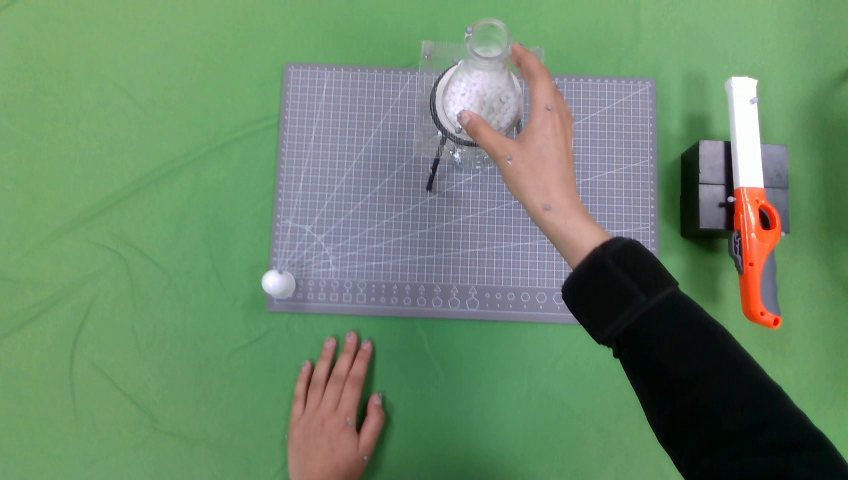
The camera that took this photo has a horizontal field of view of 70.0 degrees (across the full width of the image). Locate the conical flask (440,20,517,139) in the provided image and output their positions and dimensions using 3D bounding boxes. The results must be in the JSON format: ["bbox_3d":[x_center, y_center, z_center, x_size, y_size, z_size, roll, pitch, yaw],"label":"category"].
[{"bbox_3d":[0.052,-0.144,0.535,0.075,0.122,0.075,0,78,1],"label":"conical flask"}]

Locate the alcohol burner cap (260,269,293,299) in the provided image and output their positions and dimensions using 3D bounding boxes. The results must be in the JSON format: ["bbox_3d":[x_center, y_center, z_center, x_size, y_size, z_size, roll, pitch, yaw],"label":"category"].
[{"bbox_3d":[-0.167,0.047,0.675,0.034,0.048,0.033,0,78,-1],"label":"alcohol burner cap"}]

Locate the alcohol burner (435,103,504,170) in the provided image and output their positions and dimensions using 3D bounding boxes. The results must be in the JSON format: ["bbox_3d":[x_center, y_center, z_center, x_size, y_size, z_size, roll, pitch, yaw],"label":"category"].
[{"bbox_3d":[0.051,-0.120,0.668,0.078,0.119,0.077,0,81,1],"label":"alcohol burner"}]

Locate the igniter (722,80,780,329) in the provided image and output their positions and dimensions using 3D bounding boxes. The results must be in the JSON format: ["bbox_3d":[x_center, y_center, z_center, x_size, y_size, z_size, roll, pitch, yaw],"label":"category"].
[{"bbox_3d":[0.352,-0.043,0.657,0.057,0.025,0.275,2,79,-4],"label":"igniter"}]

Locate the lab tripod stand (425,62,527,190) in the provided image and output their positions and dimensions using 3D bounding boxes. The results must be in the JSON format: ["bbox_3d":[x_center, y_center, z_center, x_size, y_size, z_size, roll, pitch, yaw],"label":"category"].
[{"bbox_3d":[0.047,-0.126,0.659,0.148,0.132,0.148,0,80,2],"label":"lab tripod stand"}]

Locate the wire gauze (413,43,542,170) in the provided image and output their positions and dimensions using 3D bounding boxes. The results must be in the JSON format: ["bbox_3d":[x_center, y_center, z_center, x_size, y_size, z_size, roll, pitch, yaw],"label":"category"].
[{"bbox_3d":[0.053,-0.133,0.593,0.125,0.011,0.121,5,83,-1],"label":"wire gauze"}]
